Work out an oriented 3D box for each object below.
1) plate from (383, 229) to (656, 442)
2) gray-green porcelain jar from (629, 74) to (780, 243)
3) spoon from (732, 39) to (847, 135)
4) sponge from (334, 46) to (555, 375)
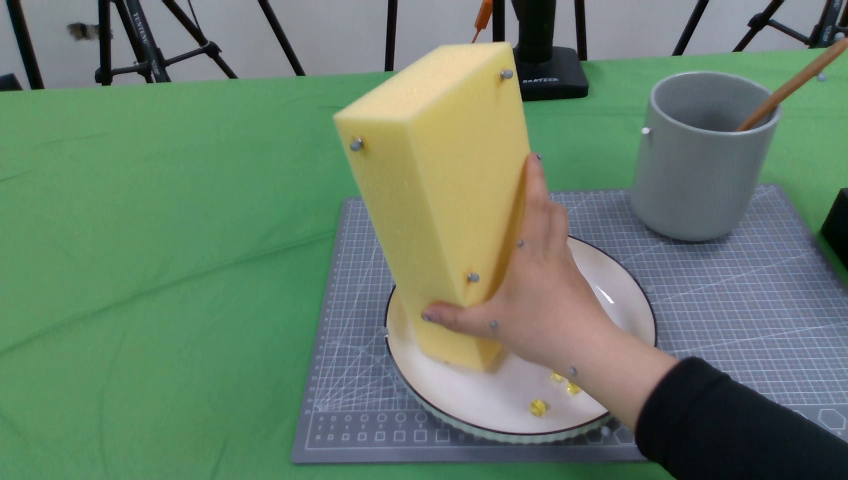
[{"bbox_3d":[0.073,0.069,0.482,0.207,0.039,0.205,-3,43,3],"label":"plate"},{"bbox_3d":[0.246,-0.069,0.551,0.106,0.128,0.105,-3,43,3],"label":"gray-green porcelain jar"},{"bbox_3d":[0.273,-0.091,0.516,0.022,0.194,0.041,29,41,-4],"label":"spoon"},{"bbox_3d":[0.028,-0.019,0.438,0.060,0.209,0.118,11,44,38],"label":"sponge"}]
